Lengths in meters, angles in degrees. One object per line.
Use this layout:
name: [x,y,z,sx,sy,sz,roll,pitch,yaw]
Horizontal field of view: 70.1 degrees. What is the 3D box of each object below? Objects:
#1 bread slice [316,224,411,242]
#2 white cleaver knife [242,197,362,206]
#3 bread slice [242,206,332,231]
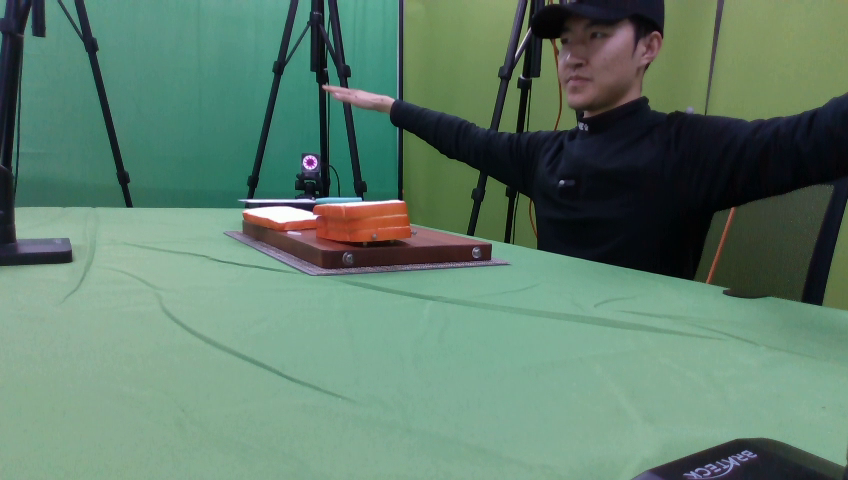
bread slice: [-0.082,-0.010,0.848,0.107,0.018,0.133,-5,5,-28]
white cleaver knife: [-0.256,-0.086,1.295,0.288,0.021,0.065,-2,8,-41]
bread slice: [-0.233,-0.036,1.001,0.131,0.019,0.105,13,16,40]
